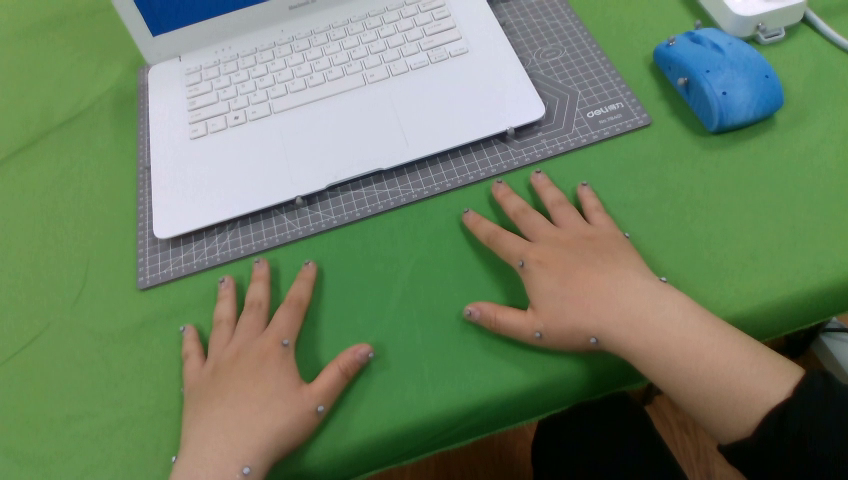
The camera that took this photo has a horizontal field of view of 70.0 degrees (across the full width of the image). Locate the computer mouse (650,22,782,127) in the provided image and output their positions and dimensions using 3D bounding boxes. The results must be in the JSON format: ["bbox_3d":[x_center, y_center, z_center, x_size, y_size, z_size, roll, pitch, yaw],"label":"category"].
[{"bbox_3d":[0.242,-0.146,0.507,0.063,0.041,0.116,-19,51,1],"label":"computer mouse"}]

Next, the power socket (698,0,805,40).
[{"bbox_3d":[0.284,-0.278,0.588,0.072,0.033,0.224,-15,56,1],"label":"power socket"}]

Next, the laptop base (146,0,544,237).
[{"bbox_3d":[-0.091,-0.143,0.581,0.354,0.023,0.233,-18,59,-2],"label":"laptop base"}]

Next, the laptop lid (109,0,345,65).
[{"bbox_3d":[-0.149,-0.318,0.565,0.357,0.244,0.013,-19,43,0],"label":"laptop lid"}]
